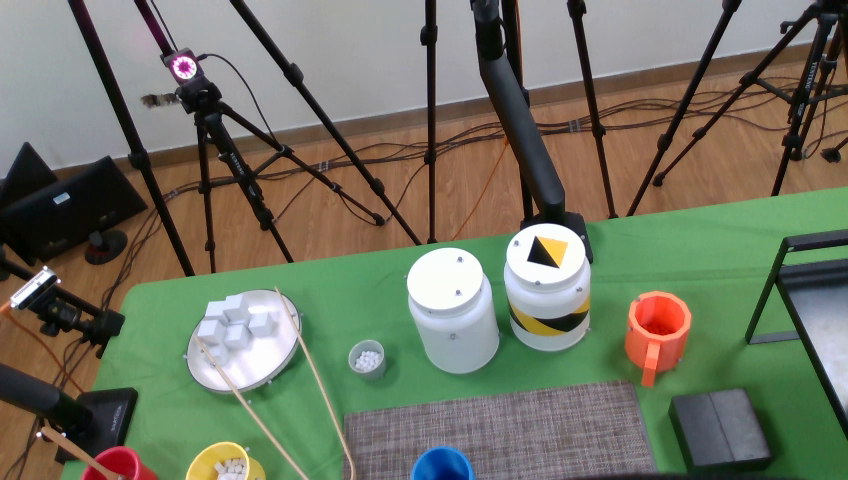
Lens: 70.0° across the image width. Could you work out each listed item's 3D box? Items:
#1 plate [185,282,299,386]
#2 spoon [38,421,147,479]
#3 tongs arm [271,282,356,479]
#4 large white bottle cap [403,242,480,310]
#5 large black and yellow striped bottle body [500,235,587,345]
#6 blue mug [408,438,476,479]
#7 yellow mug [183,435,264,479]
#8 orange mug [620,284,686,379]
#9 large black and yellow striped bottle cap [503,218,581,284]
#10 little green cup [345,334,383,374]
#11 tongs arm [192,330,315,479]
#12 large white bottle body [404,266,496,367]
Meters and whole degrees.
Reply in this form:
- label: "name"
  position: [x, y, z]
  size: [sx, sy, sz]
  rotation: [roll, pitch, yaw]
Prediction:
- label: "plate"
  position: [-0.322, 0.170, 1.088]
  size: [0.207, 0.039, 0.205]
  rotation: [-6, 51, 8]
- label: "spoon"
  position: [-0.504, 0.335, 0.925]
  size: [0.194, 0.021, 0.041]
  rotation: [43, 60, -12]
- label: "tongs arm"
  position: [-0.189, 0.217, 0.997]
  size: [0.028, 0.028, 0.383]
  rotation: [-22, 56, -16]
- label: "large white bottle cap"
  position: [0.026, 0.051, 0.895]
  size: [0.114, 0.018, 0.113]
  rotation: [-7, 50, 9]
- label: "large black and yellow striped bottle body"
  position: [0.189, 0.068, 0.956]
  size: [0.130, 0.186, 0.129]
  rotation: [-7, 50, 8]
- label: "blue mug"
  position: [0.043, 0.333, 0.820]
  size: [0.116, 0.107, 0.082]
  rotation: [13, 55, 22]
- label: "yellow mug"
  position: [-0.310, 0.364, 0.908]
  size: [0.099, 0.064, 0.130]
  rotation: [25, 62, 28]
- label: "orange mug"
  position: [0.342, 0.142, 0.916]
  size: [0.083, 0.102, 0.125]
  rotation: [10, 50, 21]
- label: "large black and yellow striped bottle cap"
  position: [0.173, 0.014, 0.893]
  size: [0.115, 0.019, 0.114]
  rotation: [-6, 50, 7]
- label: "little green cup"
  position: [-0.098, 0.194, 1.016]
  size: [0.061, 0.039, 0.061]
  rotation: [-6, 52, 8]
- label: "tongs arm"
  position: [-0.257, 0.261, 0.973]
  size: [0.051, 0.027, 0.381]
  rotation: [-37, 60, -21]
- label: "large white bottle body"
  position: [0.042, 0.104, 0.960]
  size: [0.130, 0.186, 0.129]
  rotation: [-7, 50, 8]
